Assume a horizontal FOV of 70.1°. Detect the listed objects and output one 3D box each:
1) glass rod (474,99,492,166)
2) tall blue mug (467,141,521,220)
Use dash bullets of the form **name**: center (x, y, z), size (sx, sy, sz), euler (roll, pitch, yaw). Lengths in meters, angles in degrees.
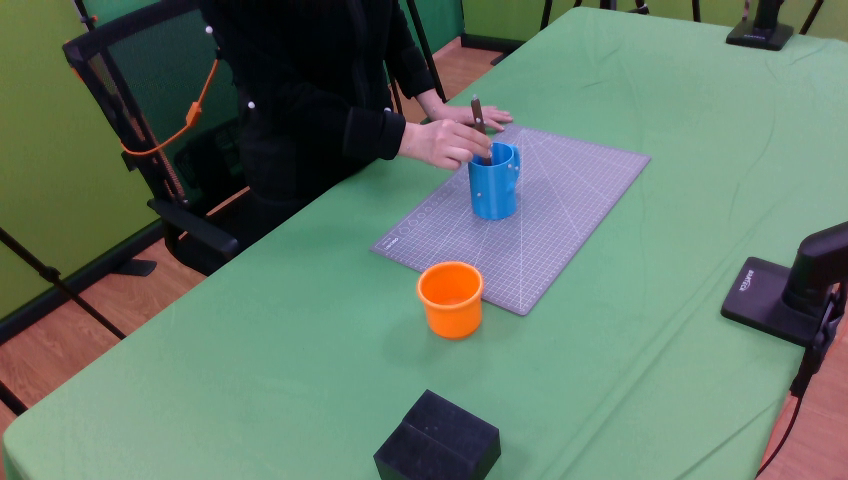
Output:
- **glass rod**: center (0.099, -0.142, 0.956), size (0.008, 0.201, 0.008), euler (-9, 48, 11)
- **tall blue mug**: center (0.119, -0.109, 1.020), size (0.077, 0.108, 0.107), euler (3, 42, 16)
